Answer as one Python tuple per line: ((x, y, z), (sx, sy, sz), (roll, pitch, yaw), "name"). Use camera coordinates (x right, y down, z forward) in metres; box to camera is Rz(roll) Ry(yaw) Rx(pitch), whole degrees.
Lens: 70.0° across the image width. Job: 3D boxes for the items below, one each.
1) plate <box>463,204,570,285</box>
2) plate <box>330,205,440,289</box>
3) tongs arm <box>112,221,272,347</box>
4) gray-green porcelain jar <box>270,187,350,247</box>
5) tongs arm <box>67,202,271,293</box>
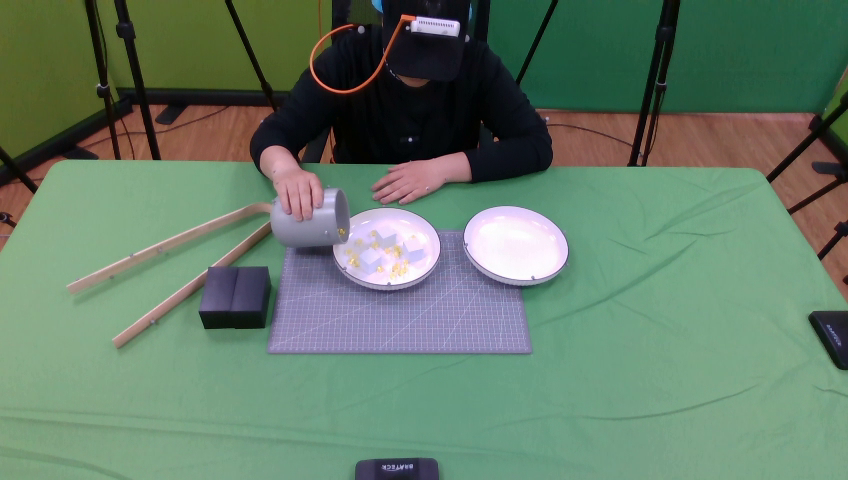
((0.178, 0.012, 1.184), (0.209, 0.038, 0.208), (3, 46, -3), "plate")
((-0.074, 0.017, 1.160), (0.208, 0.039, 0.206), (2, 46, -2), "plate")
((-0.401, 0.058, 1.109), (0.028, 0.028, 0.387), (26, 49, 23), "tongs arm")
((-0.211, -0.042, 1.120), (0.126, 0.106, 0.105), (-4, 46, 8), "gray-green porcelain jar")
((-0.461, 0.013, 1.142), (0.385, 0.026, 0.050), (-31, 56, -31), "tongs arm")
